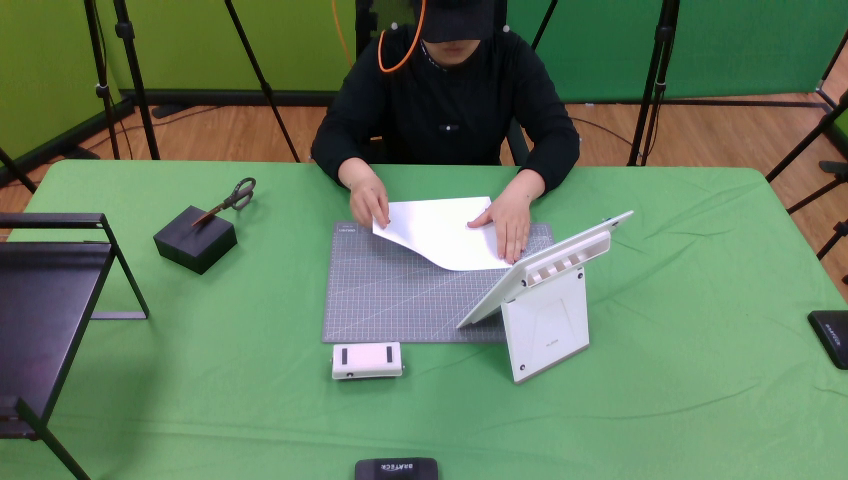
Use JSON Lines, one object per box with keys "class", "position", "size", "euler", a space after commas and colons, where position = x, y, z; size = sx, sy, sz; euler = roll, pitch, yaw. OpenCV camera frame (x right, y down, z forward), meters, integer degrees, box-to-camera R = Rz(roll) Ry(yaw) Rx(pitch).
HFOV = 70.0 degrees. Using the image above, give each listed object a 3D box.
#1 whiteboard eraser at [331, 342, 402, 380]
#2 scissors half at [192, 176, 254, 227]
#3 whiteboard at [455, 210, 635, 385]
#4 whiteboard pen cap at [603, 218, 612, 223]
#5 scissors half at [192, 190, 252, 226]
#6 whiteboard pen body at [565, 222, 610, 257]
{"class": "whiteboard eraser", "position": [-0.094, 0.198, 0.986], "size": [0.113, 0.042, 0.055], "euler": [-2, 44, -6]}
{"class": "scissors half", "position": [-0.388, -0.075, 1.174], "size": [0.013, 0.040, 0.174], "euler": [29, 48, 8]}
{"class": "whiteboard", "position": [0.211, 0.111, 0.955], "size": [0.217, 0.306, 0.143], "euler": [-21, 71, -23]}
{"class": "whiteboard pen cap", "position": [0.378, -0.031, 1.255], "size": [0.033, 0.018, 0.018], "euler": [-33, 57, -30]}
{"class": "scissors half", "position": [-0.393, -0.060, 1.187], "size": [0.013, 0.040, 0.175], "euler": [25, 29, 11]}
{"class": "whiteboard pen body", "position": [0.335, -0.004, 1.228], "size": [0.141, 0.017, 0.017], "euler": [-32, 56, -29]}
